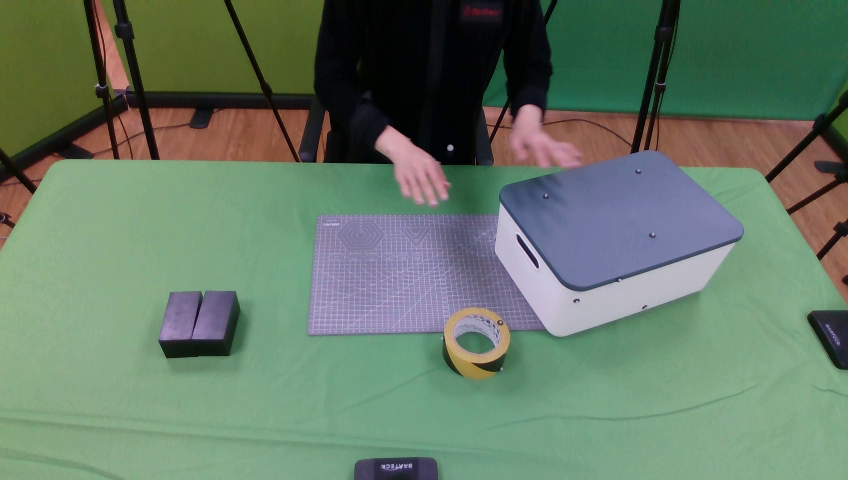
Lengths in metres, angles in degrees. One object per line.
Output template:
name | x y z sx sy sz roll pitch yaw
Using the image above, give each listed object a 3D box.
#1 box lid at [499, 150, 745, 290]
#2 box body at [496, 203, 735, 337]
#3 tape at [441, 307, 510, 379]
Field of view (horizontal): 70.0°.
box lid | 0.341 -0.049 1.064 0.372 0.015 0.261 -15 48 -18
box body | 0.340 0.003 1.118 0.364 0.161 0.252 -15 49 -18
tape | 0.087 0.172 1.014 0.117 0.053 0.116 2 48 -2
